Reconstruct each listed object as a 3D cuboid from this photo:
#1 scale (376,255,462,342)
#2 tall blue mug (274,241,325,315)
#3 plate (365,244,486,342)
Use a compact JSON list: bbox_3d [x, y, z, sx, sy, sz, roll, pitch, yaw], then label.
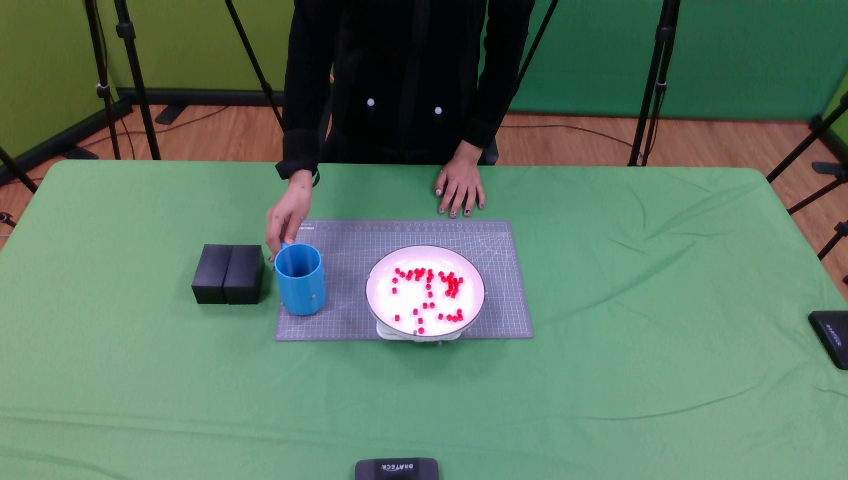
[{"bbox_3d":[-0.010,0.096,1.094,0.149,0.032,0.199,2,46,-3],"label":"scale"},{"bbox_3d":[-0.225,0.061,1.043,0.107,0.108,0.077,25,53,17],"label":"tall blue mug"},{"bbox_3d":[0.001,0.093,1.051,0.209,0.038,0.208,1,46,-1],"label":"plate"}]
